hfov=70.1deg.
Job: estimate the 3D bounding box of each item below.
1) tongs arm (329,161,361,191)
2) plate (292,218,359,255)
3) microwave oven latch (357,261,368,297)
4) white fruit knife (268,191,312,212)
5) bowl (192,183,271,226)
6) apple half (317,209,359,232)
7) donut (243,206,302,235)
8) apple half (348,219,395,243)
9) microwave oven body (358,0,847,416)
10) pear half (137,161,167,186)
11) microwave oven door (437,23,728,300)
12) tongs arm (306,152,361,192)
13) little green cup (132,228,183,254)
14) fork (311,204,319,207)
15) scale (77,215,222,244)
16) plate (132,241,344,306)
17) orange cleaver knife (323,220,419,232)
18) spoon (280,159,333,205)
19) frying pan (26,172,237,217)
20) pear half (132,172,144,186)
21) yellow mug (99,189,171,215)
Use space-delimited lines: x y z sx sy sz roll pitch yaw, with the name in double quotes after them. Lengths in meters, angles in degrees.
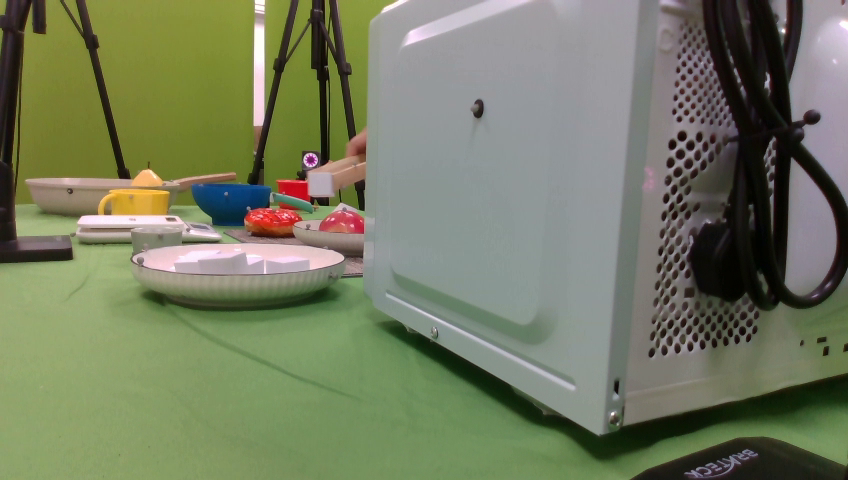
-0.090 -0.133 1.025 0.050 0.026 0.385 -1 15 20 "tongs arm"
-0.098 -0.007 0.928 0.209 0.038 0.209 2 8 0 "plate"
-0.019 0.033 0.531 0.079 0.029 0.030 -1 7 -27 "microwave oven latch"
-0.364 -0.105 1.464 0.208 0.027 0.016 15 0 -34 "white fruit knife"
-0.382 -0.071 1.202 0.151 0.077 0.151 3 7 0 "bowl"
-0.121 -0.020 0.900 0.080 0.053 0.075 3 10 14 "apple half"
-0.261 -0.032 1.043 0.099 0.048 0.099 3 9 0 "donut"
-0.083 -0.018 0.966 0.081 0.033 0.081 6 10 -1 "apple half"
0.211 -0.047 0.475 0.444 0.260 0.324 -1 7 -28 "microwave oven body"
-0.602 -0.120 1.354 0.056 0.110 0.076 4 11 6 "pear half"
0.180 -0.072 0.621 0.358 0.243 0.039 -2 8 -29 "microwave oven door"
-0.112 -0.132 1.031 0.028 0.028 0.388 -6 14 17 "tongs arm"
-0.342 0.006 0.779 0.061 0.038 0.061 2 8 0 "little green cup"
-0.356 -0.105 1.526 0.208 0.018 0.028 16 -5 -41 "fork"
-0.434 -0.019 0.963 0.202 0.031 0.148 -1 9 -27 "scale"
-0.187 0.033 0.625 0.208 0.039 0.207 2 8 0 "plate"
-0.097 -0.027 1.152 0.077 0.012 0.212 2 7 41 "orange cleaver knife"
-0.317 -0.159 1.640 0.194 0.022 0.041 -49 32 -20 "spoon"
-0.624 -0.118 1.387 0.305 0.102 0.490 8 17 32 "frying pan"
-0.638 -0.113 1.360 0.031 0.088 0.070 5 10 4 "pear half"
-0.519 -0.055 1.080 0.099 0.064 0.131 7 9 26 "yellow mug"
